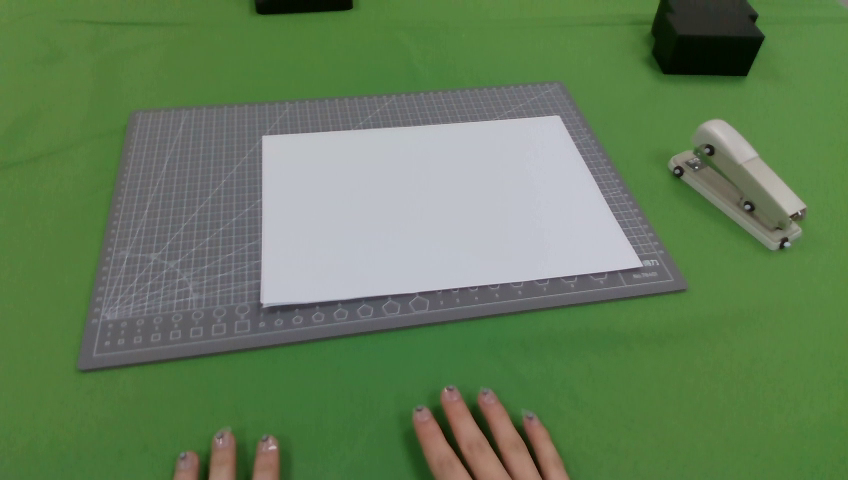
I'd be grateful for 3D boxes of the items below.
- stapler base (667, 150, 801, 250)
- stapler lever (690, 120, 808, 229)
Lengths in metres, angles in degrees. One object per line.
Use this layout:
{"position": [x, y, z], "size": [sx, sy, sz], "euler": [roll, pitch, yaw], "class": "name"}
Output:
{"position": [0.280, -0.045, 0.548], "size": [0.041, 0.024, 0.129], "euler": [-24, 55, -20], "class": "stapler base"}
{"position": [0.283, -0.061, 0.530], "size": [0.027, 0.040, 0.117], "euler": [-24, 54, -20], "class": "stapler lever"}
